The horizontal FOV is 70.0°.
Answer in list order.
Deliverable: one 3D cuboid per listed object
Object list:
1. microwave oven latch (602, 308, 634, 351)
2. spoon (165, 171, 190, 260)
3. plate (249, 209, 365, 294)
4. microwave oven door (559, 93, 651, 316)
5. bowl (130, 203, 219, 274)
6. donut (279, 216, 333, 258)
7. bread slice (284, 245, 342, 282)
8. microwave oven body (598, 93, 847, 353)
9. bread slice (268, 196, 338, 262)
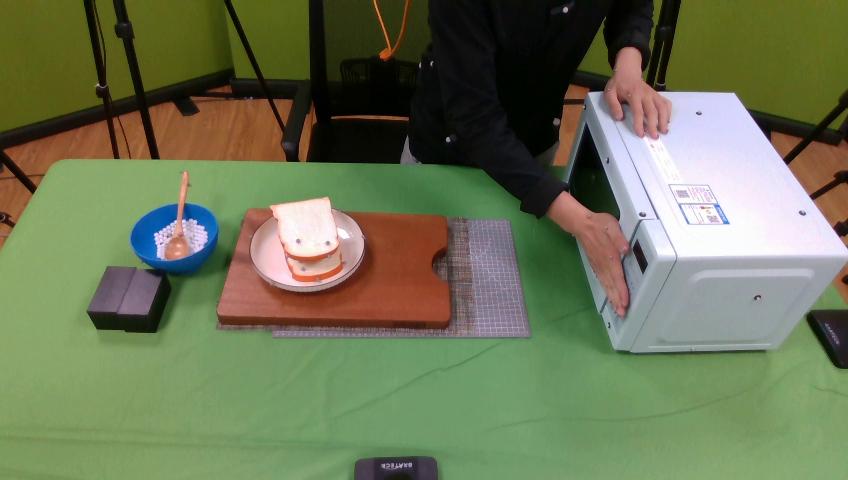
[{"bbox_3d":[0.332,0.153,1.044,0.030,0.029,0.078,-1,45,-4],"label":"microwave oven latch"},{"bbox_3d":[-0.452,-0.046,1.128,0.041,0.022,0.193,-1,68,-2],"label":"spoon"},{"bbox_3d":[-0.212,0.021,1.113,0.208,0.039,0.206,3,45,-2],"label":"plate"},{"bbox_3d":[0.324,-0.074,1.123,0.039,0.245,0.353,0,46,-4],"label":"microwave oven door"},{"bbox_3d":[-0.450,0.010,1.116,0.151,0.077,0.150,3,45,-3],"label":"bowl"},{"bbox_3d":[-0.213,-0.005,1.096,0.099,0.048,0.098,-1,41,1],"label":"donut"},{"bbox_3d":[-0.205,0.024,1.115,0.105,0.019,0.130,-13,46,-14],"label":"bread slice"},{"bbox_3d":[0.476,-0.041,1.110,0.326,0.261,0.438,-1,45,-4],"label":"microwave oven body"},{"bbox_3d":[-0.207,-0.020,1.071,0.107,0.018,0.133,-14,55,-18],"label":"bread slice"}]
